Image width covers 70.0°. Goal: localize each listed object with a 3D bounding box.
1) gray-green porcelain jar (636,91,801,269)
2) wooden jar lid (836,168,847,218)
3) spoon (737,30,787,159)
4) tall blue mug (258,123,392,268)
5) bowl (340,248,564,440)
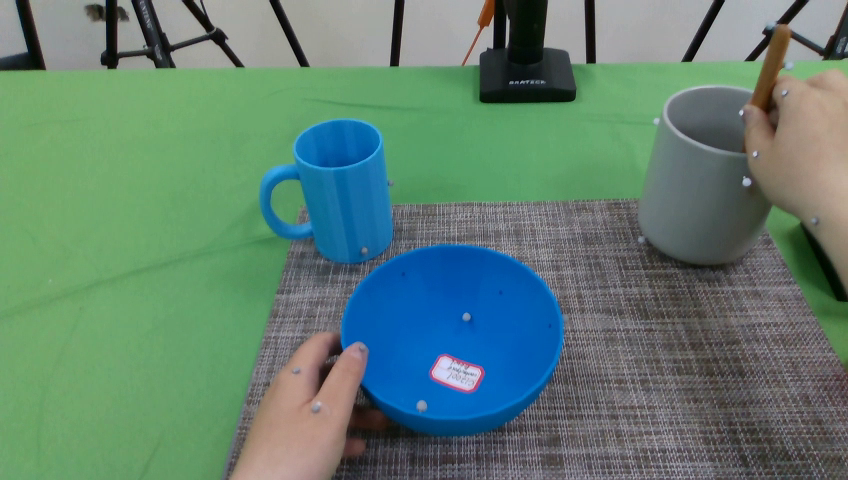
[{"bbox_3d":[0.244,-0.046,0.522,0.106,0.127,0.105,-2,43,2],"label":"gray-green porcelain jar"},{"bbox_3d":[0.401,-0.027,0.502,0.108,0.021,0.107,-2,43,2],"label":"wooden jar lid"},{"bbox_3d":[0.258,-0.079,0.477,0.021,0.196,0.041,-28,52,-2],"label":"spoon"},{"bbox_3d":[-0.083,-0.032,0.540,0.107,0.109,0.077,-33,51,-28],"label":"tall blue mug"},{"bbox_3d":[0.020,0.084,0.431,0.151,0.077,0.150,-1,43,2],"label":"bowl"}]
